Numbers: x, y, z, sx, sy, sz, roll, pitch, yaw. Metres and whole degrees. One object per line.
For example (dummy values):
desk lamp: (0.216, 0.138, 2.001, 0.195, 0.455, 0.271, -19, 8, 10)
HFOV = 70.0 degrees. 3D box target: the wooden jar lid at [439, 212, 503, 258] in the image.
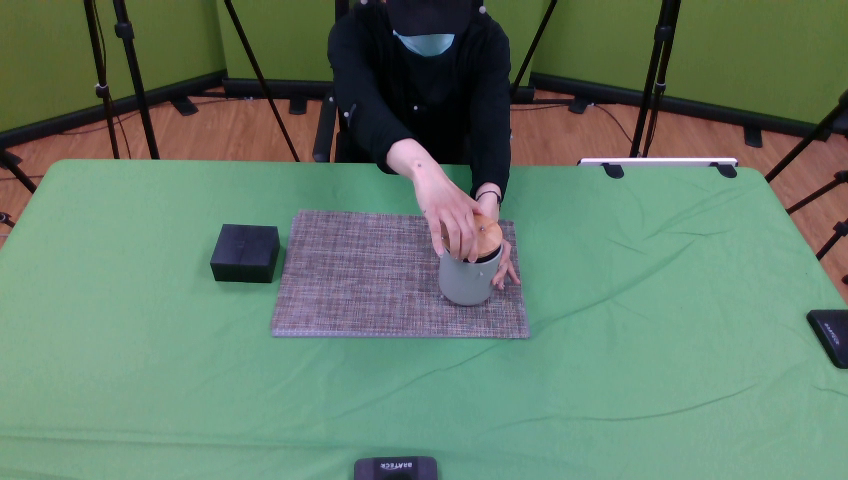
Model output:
wooden jar lid: (0.079, -0.007, 1.025, 0.108, 0.021, 0.107, 0, 42, 0)

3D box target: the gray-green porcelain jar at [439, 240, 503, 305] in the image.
gray-green porcelain jar: (0.080, 0.046, 1.078, 0.106, 0.127, 0.105, 2, 46, -2)
